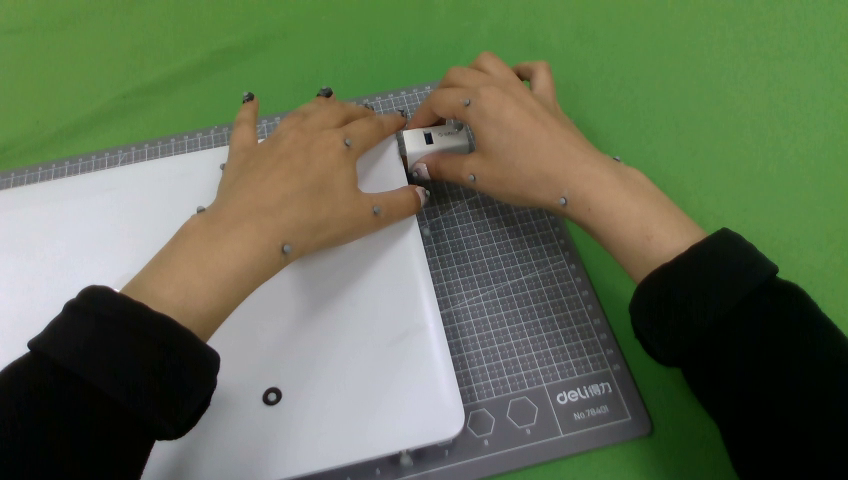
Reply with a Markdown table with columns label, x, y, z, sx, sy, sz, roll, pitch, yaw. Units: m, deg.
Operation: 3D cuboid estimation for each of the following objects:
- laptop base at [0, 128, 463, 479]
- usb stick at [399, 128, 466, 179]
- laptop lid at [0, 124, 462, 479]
| label | x | y | z | sx | sy | sz | roll | pitch | yaw |
| --- | --- | --- | --- | --- | --- | --- | --- | --- | --- |
| laptop base | -0.172 | 0.052 | 0.381 | 0.355 | 0.023 | 0.233 | -12 | 62 | -4 |
| usb stick | -0.001 | -0.059 | 0.426 | 0.059 | 0.027 | 0.021 | -12 | 61 | -1 |
| laptop lid | -0.172 | 0.047 | 0.369 | 0.357 | 0.013 | 0.239 | -10 | 60 | -4 |
